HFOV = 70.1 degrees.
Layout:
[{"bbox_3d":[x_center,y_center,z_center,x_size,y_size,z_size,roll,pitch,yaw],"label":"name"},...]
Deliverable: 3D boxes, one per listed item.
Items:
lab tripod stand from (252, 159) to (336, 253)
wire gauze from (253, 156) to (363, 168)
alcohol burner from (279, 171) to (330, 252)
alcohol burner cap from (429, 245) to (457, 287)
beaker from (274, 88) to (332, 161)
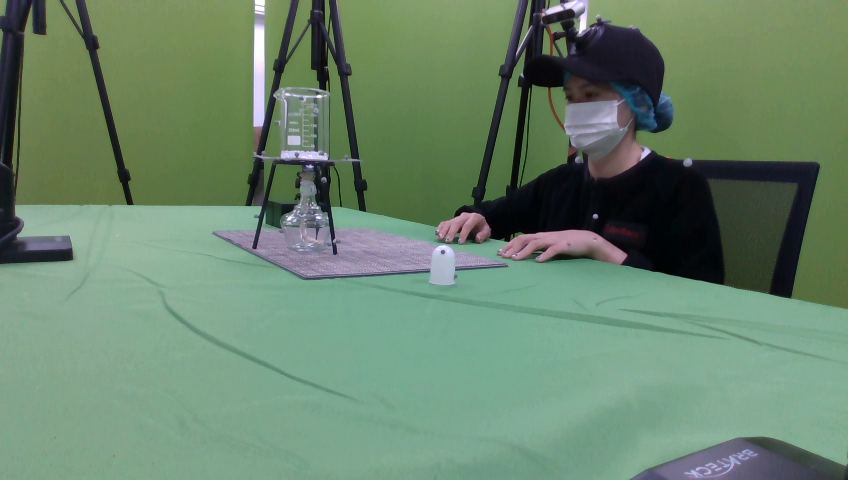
[{"bbox_3d":[-0.180,-0.053,0.900,0.148,0.131,0.148,1,6,0],"label":"lab tripod stand"},{"bbox_3d":[-0.172,-0.117,0.891,0.122,0.011,0.124,0,3,-38],"label":"wire gauze"},{"bbox_3d":[-0.174,-0.043,0.896,0.078,0.119,0.078,3,5,0],"label":"alcohol burner"},{"bbox_3d":[0.024,0.030,0.705,0.034,0.048,0.034,2,7,0],"label":"alcohol burner cap"},{"bbox_3d":[-0.177,-0.165,0.879,0.084,0.100,0.074,2,5,1],"label":"beaker"}]
